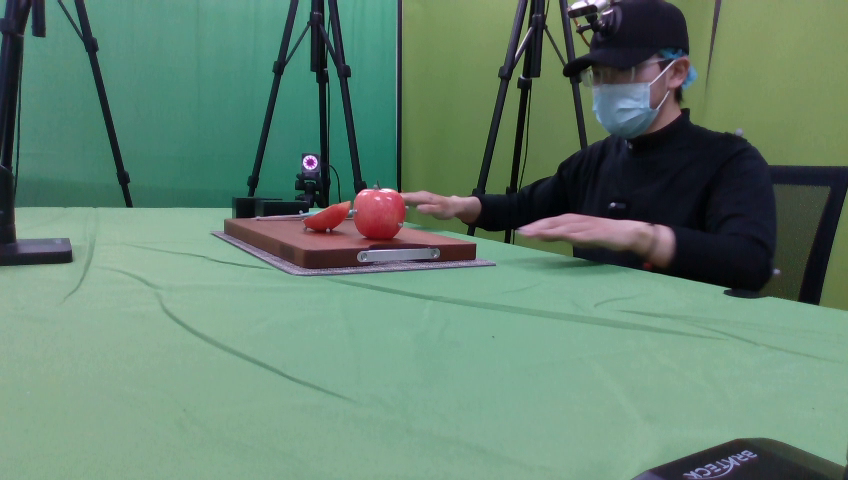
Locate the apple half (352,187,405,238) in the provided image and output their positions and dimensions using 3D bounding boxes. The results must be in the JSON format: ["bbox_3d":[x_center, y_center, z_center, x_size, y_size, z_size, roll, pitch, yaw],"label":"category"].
[{"bbox_3d":[-0.058,-0.038,0.877,0.053,0.074,0.081,14,9,39],"label":"apple half"}]

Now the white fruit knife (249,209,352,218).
[{"bbox_3d":[-0.220,-0.047,1.116,0.208,0.016,0.027,-4,-5,-35],"label":"white fruit knife"}]

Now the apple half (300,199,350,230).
[{"bbox_3d":[-0.147,-0.035,0.941,0.081,0.033,0.081,-22,1,1],"label":"apple half"}]
